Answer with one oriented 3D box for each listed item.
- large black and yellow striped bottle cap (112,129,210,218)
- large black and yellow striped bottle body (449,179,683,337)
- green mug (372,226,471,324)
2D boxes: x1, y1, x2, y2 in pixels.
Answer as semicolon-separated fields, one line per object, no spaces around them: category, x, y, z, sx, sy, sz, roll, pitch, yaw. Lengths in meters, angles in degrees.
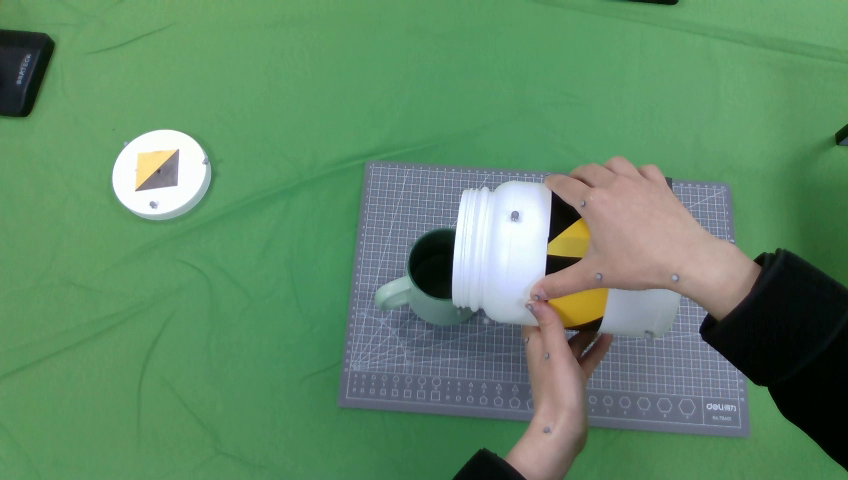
large black and yellow striped bottle cap;-0.322;-0.083;0.743;0.115;0.019;0.114;0;71;0
large black and yellow striped bottle body;0.120;0.013;0.541;0.184;0.131;0.130;5;72;7
green mug;0.004;0.045;0.654;0.125;0.105;0.092;-21;73;-6
